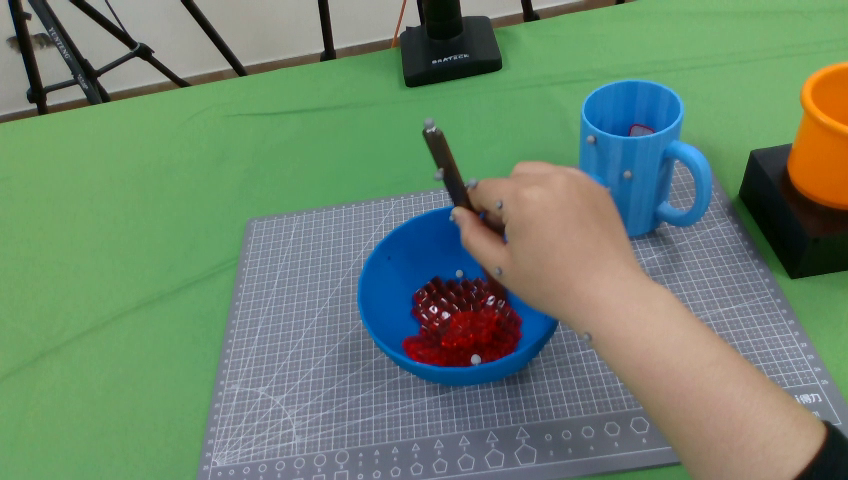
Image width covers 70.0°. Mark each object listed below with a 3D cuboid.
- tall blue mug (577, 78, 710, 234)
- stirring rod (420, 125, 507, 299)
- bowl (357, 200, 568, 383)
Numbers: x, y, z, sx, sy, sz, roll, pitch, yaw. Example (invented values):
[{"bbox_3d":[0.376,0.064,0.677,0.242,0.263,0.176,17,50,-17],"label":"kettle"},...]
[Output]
[{"bbox_3d":[0.182,-0.065,0.502,0.106,0.109,0.077,12,52,22],"label":"tall blue mug"},{"bbox_3d":[0.031,-0.010,0.403,0.014,0.178,0.006,16,60,32],"label":"stirring rod"},{"bbox_3d":[0.031,0.050,0.453,0.151,0.077,0.150,-6,47,7],"label":"bowl"}]
